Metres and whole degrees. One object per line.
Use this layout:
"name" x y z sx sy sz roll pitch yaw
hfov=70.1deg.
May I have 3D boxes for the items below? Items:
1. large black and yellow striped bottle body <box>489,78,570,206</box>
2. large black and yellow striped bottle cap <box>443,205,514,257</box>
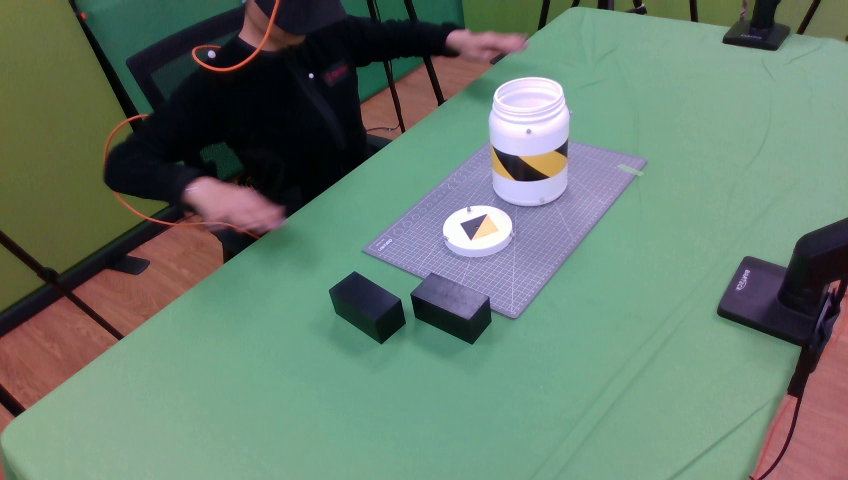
"large black and yellow striped bottle body" 0.177 -0.164 1.012 0.131 0.185 0.130 -5 40 5
"large black and yellow striped bottle cap" 0.088 -0.016 0.986 0.115 0.019 0.114 -4 41 4
